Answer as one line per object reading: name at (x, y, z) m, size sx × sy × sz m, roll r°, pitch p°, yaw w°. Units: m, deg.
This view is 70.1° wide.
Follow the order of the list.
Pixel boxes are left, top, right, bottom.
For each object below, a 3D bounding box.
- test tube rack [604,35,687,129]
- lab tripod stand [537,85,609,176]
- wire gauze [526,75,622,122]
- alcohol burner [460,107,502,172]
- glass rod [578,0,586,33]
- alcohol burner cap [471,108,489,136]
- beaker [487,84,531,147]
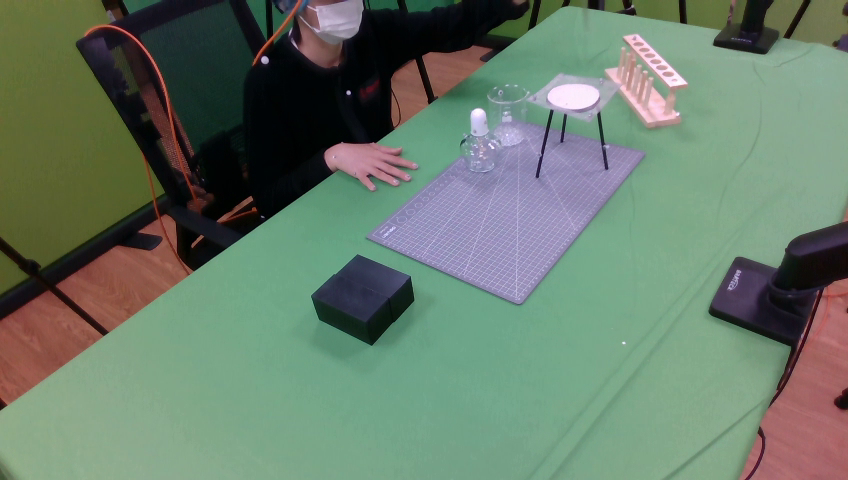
test tube rack at (0.447, -0.330, 1.241) m, size 0.067 × 0.085 × 0.241 m, roll -9°, pitch 41°, yaw -2°
lab tripod stand at (0.259, -0.192, 1.068) m, size 0.148 × 0.132 × 0.147 m, roll -4°, pitch 42°, yaw 4°
wire gauze at (0.255, -0.248, 1.030) m, size 0.124 × 0.011 × 0.122 m, roll 24°, pitch 51°, yaw 32°
alcohol burner at (0.102, -0.185, 1.098) m, size 0.078 × 0.119 × 0.077 m, roll -6°, pitch 40°, yaw 5°
glass rod at (0.275, -0.468, 1.083) m, size 0.008 × 0.201 × 0.008 m, roll -13°, pitch 35°, yaw 10°
alcohol burner cap at (0.098, -0.211, 1.074) m, size 0.034 × 0.048 × 0.033 m, roll -6°, pitch 42°, yaw 6°
beaker at (0.164, -0.237, 1.162) m, size 0.084 × 0.101 × 0.073 m, roll -9°, pitch 41°, yaw -3°
